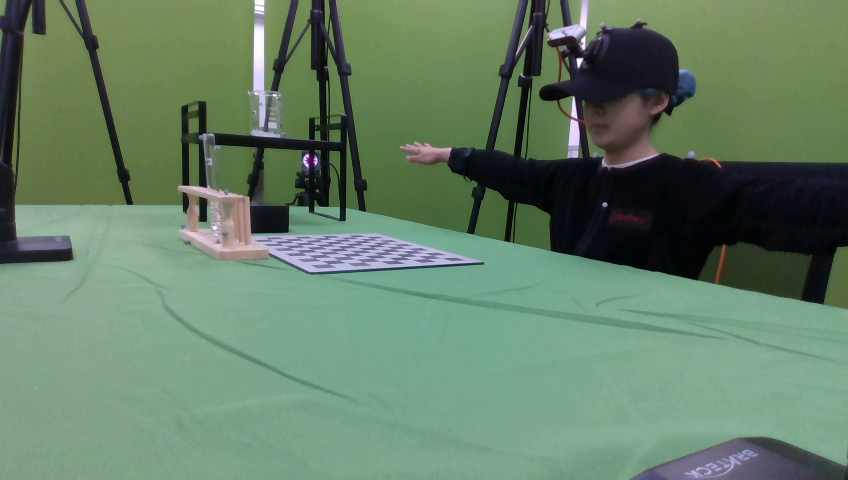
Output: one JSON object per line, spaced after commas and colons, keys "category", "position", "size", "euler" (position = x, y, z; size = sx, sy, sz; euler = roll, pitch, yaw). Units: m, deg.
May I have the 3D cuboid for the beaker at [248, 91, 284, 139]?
{"category": "beaker", "position": [-0.353, -0.277, 1.343], "size": [0.073, 0.100, 0.084], "euler": [8, 9, 39]}

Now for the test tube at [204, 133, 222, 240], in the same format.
{"category": "test tube", "position": [-0.295, -0.075, 0.849], "size": [0.017, 0.150, 0.017], "euler": [-3, 6, 1]}

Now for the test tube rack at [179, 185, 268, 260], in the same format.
{"category": "test tube rack", "position": [-0.303, -0.031, 0.898], "size": [0.067, 0.085, 0.241], "euler": [-2, 9, -33]}
